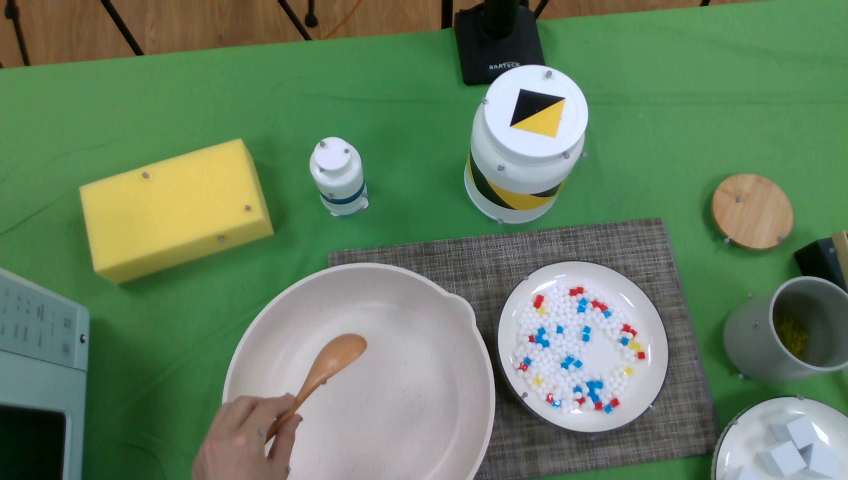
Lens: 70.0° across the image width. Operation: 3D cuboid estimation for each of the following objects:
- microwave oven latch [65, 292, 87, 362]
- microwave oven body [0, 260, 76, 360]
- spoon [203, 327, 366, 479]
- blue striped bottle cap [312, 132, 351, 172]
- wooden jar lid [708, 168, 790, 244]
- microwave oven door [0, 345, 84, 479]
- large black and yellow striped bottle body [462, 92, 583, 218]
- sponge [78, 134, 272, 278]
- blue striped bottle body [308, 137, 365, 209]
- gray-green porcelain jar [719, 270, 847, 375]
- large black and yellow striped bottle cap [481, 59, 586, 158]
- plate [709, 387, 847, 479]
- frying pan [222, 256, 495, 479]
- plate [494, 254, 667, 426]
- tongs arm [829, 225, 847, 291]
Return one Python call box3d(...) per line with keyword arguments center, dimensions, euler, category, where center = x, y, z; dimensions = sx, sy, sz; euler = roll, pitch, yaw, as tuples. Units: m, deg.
box3d(center=(-0.417, 0.103, 0.715), dimensions=(0.030, 0.029, 0.078), euler=(-5, 73, -3), category="microwave oven latch")
box3d(center=(-0.544, 0.254, 0.562), dimensions=(0.326, 0.261, 0.439), euler=(-6, 73, -4), category="microwave oven body")
box3d(center=(-0.128, 0.151, 0.567), dimensions=(0.193, 0.022, 0.041), euler=(-47, 42, -12), category="spoon")
box3d(center=(-0.109, -0.104, 0.712), dimensions=(0.044, 0.021, 0.044), euler=(0, 69, 1), category="blue striped bottle cap")
box3d(center=(0.434, -0.045, 0.815), dimensions=(0.108, 0.021, 0.108), euler=(0, 74, -1), category="wooden jar lid")
box3d(center=(-0.395, 0.278, 0.552), dimensions=(0.039, 0.245, 0.353), euler=(-6, 72, -3), category="microwave oven door")
box3d(center=(0.118, -0.117, 0.744), dimensions=(0.131, 0.185, 0.130), euler=(0, 71, -1), category="large black and yellow striped bottle body")
box3d(center=(-0.313, -0.043, 0.772), dimensions=(0.207, 0.061, 0.117), euler=(-19, 74, -8), category="sponge")
box3d(center=(-0.109, -0.088, 0.761), dimensions=(0.063, 0.121, 0.062), euler=(0, 72, -1), category="blue striped bottle body")
box3d(center=(0.419, 0.102, 0.711), dimensions=(0.106, 0.127, 0.105), euler=(1, 72, -1), category="gray-green porcelain jar")
box3d(center=(0.120, -0.145, 0.665), dimensions=(0.115, 0.019, 0.114), euler=(1, 74, -2), category="large black and yellow striped bottle cap")
box3d(center=(0.431, 0.277, 0.702), dimensions=(0.208, 0.039, 0.206), euler=(0, 72, -1), category="plate")
box3d(center=(-0.008, 0.236, 0.622), dimensions=(0.307, 0.103, 0.483), euler=(-37, 64, -6), category="frying pan")
box3d(center=(0.187, 0.120, 0.742), dimensions=(0.209, 0.038, 0.208), euler=(0, 73, -1), category="plate")
box3d(center=(0.559, 0.164, 0.713), dimensions=(0.051, 0.026, 0.383), euler=(-11, 83, -7), category="tongs arm")
